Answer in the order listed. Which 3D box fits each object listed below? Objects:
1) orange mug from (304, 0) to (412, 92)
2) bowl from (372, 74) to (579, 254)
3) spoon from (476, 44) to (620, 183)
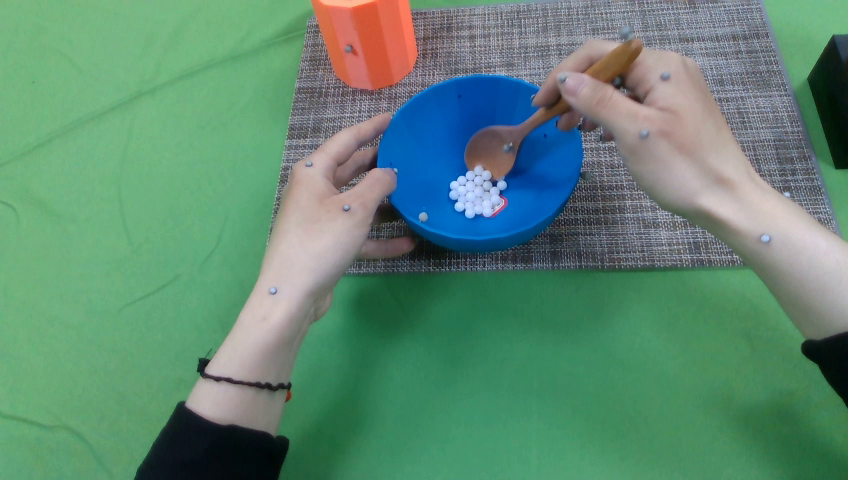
[{"bbox_3d":[-0.056,-0.219,0.567,0.083,0.101,0.125,9,67,12],"label":"orange mug"},{"bbox_3d":[0.040,-0.046,0.470,0.151,0.077,0.150,-3,61,6],"label":"bowl"},{"bbox_3d":[0.074,-0.079,0.408,0.022,0.194,0.041,29,73,-4],"label":"spoon"}]
